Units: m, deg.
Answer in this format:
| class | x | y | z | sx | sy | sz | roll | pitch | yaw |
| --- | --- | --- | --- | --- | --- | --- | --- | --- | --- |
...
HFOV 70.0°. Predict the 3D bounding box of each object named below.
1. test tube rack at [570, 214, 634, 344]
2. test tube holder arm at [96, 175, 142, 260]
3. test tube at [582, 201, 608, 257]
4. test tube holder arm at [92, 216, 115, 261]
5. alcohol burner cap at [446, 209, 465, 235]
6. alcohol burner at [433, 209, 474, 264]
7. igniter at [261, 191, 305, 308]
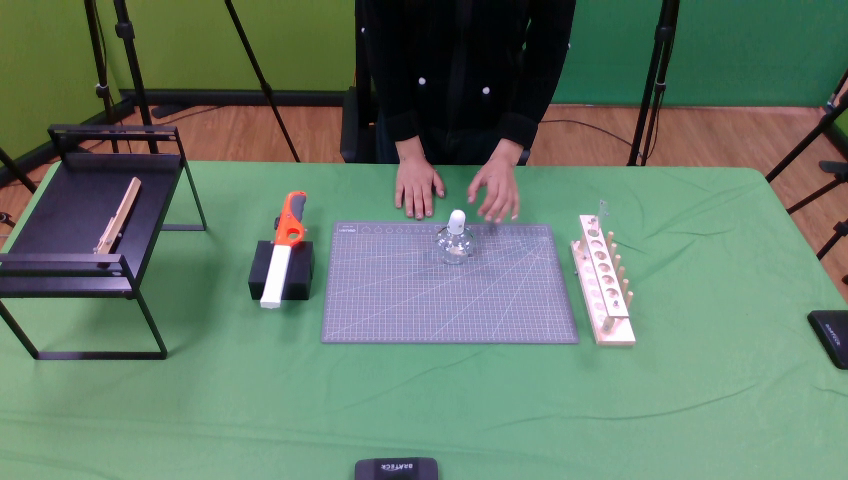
| class | x | y | z | sx | sy | sz | roll | pitch | yaw |
| --- | --- | --- | --- | --- | --- | --- | --- | --- | --- |
| test tube rack | 0.333 | 0.067 | 1.116 | 0.067 | 0.085 | 0.241 | 1 | 46 | -3 |
| test tube holder arm | -0.473 | -0.039 | 0.946 | 0.013 | 0.015 | 0.177 | -18 | 43 | 19 |
| test tube | 0.316 | -0.017 | 1.127 | 0.017 | 0.151 | 0.017 | 1 | 51 | -1 |
| test tube holder arm | -0.479 | -0.004 | 0.917 | 0.010 | 0.015 | 0.087 | -18 | 44 | 20 |
| alcohol burner cap | 0.060 | -0.036 | 1.120 | 0.034 | 0.048 | 0.033 | 4 | 51 | -4 |
| alcohol burner | 0.058 | -0.012 | 1.147 | 0.078 | 0.119 | 0.077 | 3 | 44 | -2 |
| igniter | -0.255 | 0.007 | 1.104 | 0.057 | 0.025 | 0.275 | 5 | 47 | -4 |
